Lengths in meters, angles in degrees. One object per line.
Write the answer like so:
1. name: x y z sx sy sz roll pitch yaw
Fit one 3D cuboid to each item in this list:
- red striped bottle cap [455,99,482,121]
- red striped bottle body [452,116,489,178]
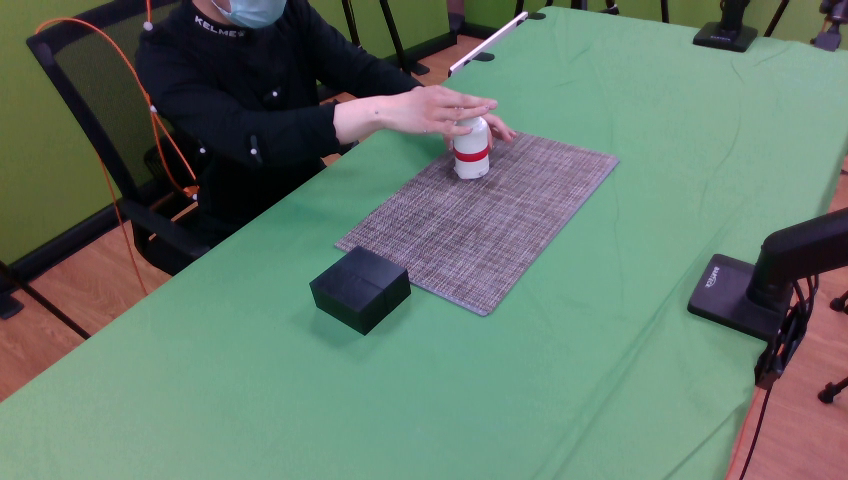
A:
1. red striped bottle cap: 0.076 -0.224 1.038 0.044 0.018 0.044 -9 46 10
2. red striped bottle body: 0.083 -0.176 1.079 0.063 0.120 0.062 -4 41 4
